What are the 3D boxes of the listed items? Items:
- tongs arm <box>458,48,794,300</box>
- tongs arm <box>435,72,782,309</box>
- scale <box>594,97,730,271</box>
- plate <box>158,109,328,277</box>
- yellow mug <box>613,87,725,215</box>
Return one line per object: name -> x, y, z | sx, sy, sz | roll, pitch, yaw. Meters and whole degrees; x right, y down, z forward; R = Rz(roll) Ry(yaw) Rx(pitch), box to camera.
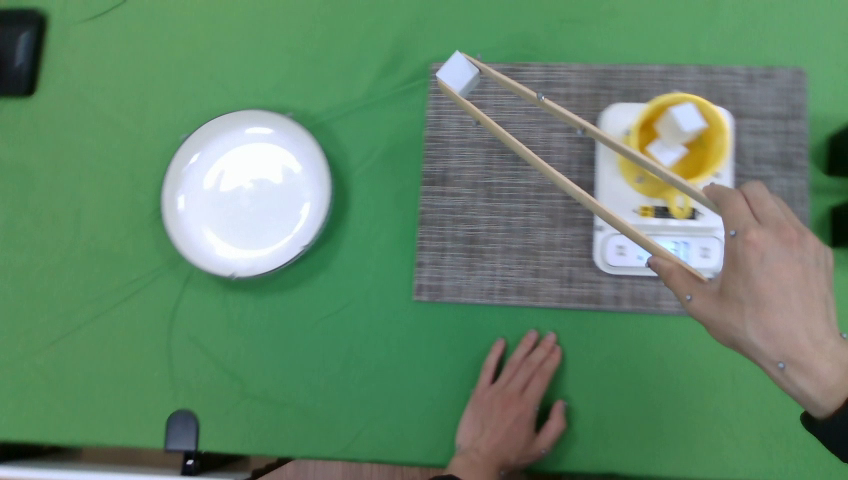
tongs arm -> 0.148, -0.079, 0.536 | 0.051, 0.027, 0.381 | -49, 56, -2
tongs arm -> 0.131, -0.061, 0.536 | 0.028, 0.028, 0.383 | -44, 56, -3
scale -> 0.273, -0.067, 0.699 | 0.148, 0.031, 0.200 | 1, 82, 6
plate -> -0.218, -0.055, 0.743 | 0.207, 0.039, 0.207 | -1, 82, 5
yellow mug -> 0.265, -0.092, 0.656 | 0.100, 0.064, 0.130 | -8, 82, 3
